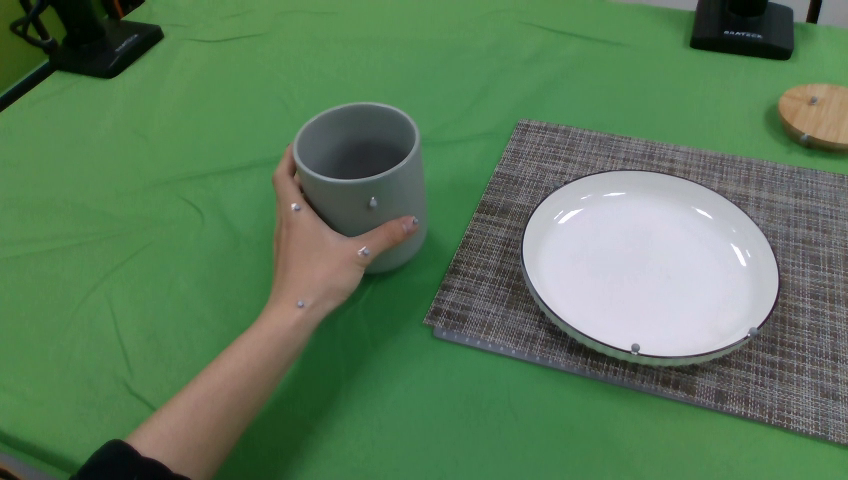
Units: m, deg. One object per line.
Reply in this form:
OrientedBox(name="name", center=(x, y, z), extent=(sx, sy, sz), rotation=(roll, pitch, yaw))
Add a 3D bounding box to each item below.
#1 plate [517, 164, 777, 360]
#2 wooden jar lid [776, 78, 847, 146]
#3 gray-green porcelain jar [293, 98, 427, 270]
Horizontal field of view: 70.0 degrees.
OrientedBox(name="plate", center=(0.184, 0.017, 0.521), extent=(0.207, 0.039, 0.205), rotation=(-2, 49, 3))
OrientedBox(name="wooden jar lid", center=(0.436, -0.137, 0.652), extent=(0.108, 0.021, 0.107), rotation=(-2, 50, 3))
OrientedBox(name="gray-green porcelain jar", center=(-0.052, -0.044, 0.541), extent=(0.106, 0.128, 0.105), rotation=(-2, 48, 2))
